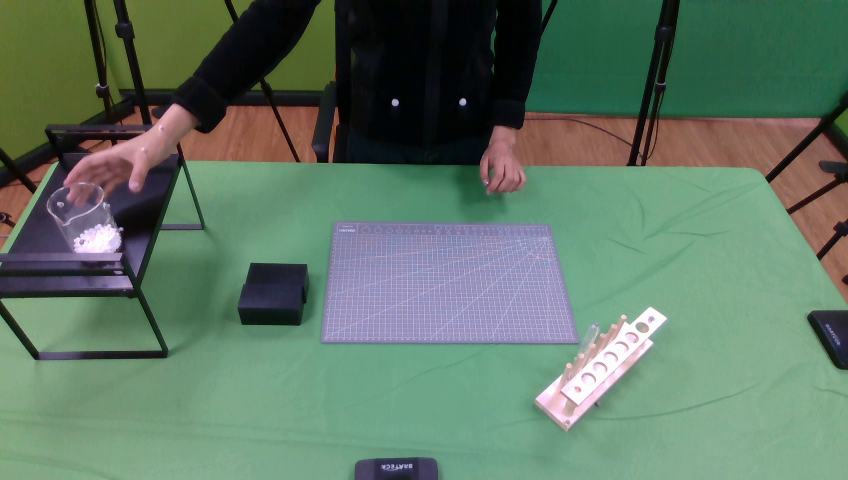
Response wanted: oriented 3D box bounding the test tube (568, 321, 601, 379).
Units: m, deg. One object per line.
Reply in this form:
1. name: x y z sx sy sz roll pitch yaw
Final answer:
1. test tube: 0.247 0.173 0.938 0.017 0.151 0.017 2 47 -2

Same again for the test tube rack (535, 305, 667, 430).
1. test tube rack: 0.290 0.193 0.984 0.242 0.085 0.066 -32 56 -30

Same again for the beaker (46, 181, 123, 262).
1. beaker: -0.487 -0.021 0.877 0.074 0.101 0.083 3 47 0
